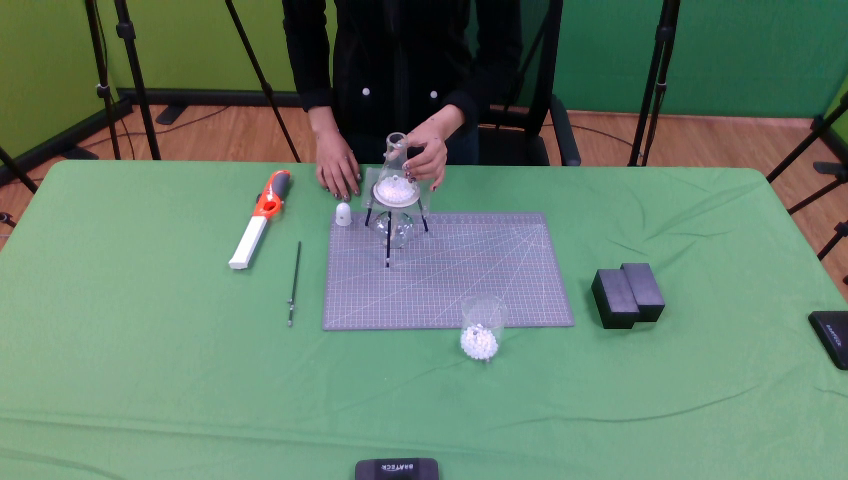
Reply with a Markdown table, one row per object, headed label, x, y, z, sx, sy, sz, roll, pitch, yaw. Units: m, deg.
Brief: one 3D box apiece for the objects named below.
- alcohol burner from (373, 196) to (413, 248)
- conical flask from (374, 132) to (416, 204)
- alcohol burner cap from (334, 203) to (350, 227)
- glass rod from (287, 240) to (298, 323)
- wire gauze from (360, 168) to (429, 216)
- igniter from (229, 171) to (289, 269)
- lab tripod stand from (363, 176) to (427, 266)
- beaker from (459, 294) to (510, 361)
| label | x | y | z | sx | sy | sz | roll | pitch | yaw |
| --- | --- | --- | --- | --- | --- | --- | --- | --- | --- |
| alcohol burner | -0.059 | -0.041 | 1.167 | 0.078 | 0.119 | 0.077 | 4 | 46 | -4 |
| conical flask | -0.050 | -0.130 | 1.062 | 0.075 | 0.122 | 0.075 | 2 | 46 | -2 |
| alcohol burner cap | -0.166 | -0.054 | 1.221 | 0.034 | 0.048 | 0.033 | 3 | 45 | -3 |
| glass rod | -0.242 | 0.072 | 1.119 | 0.008 | 0.008 | 0.198 | -1 | 47 | -5 |
| wire gauze | -0.053 | -0.093 | 1.110 | 0.125 | 0.011 | 0.120 | 4 | 46 | 0 |
| igniter | -0.328 | -0.049 | 1.218 | 0.057 | 0.025 | 0.275 | 1 | 45 | 11 |
| lab tripod stand | -0.058 | -0.047 | 1.159 | 0.148 | 0.132 | 0.147 | 3 | 44 | -2 |
| beaker | 0.095 | 0.147 | 1.012 | 0.083 | 0.101 | 0.074 | 26 | 49 | 21 |
